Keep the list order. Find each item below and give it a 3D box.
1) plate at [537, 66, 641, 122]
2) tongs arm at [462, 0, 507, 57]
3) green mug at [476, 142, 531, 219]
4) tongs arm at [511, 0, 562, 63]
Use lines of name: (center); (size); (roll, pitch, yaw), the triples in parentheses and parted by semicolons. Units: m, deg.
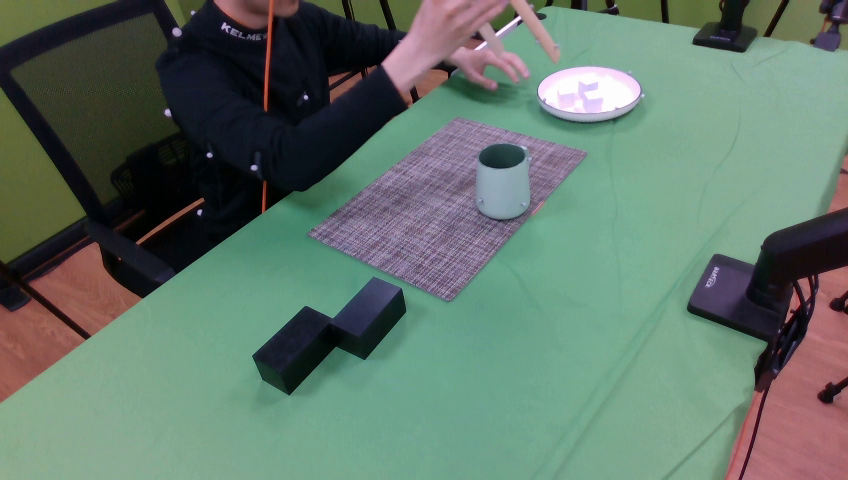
plate: (0.338, -0.299, 1.255); (0.209, 0.038, 0.208); (-4, 41, 4)
tongs arm: (0.063, -0.398, 0.940); (0.028, 0.391, 0.028); (27, 88, 31)
green mug: (0.140, -0.106, 1.002); (0.092, 0.105, 0.125); (21, 49, 30)
tongs arm: (0.111, -0.380, 0.902); (0.050, 0.388, 0.026); (23, 86, 39)
